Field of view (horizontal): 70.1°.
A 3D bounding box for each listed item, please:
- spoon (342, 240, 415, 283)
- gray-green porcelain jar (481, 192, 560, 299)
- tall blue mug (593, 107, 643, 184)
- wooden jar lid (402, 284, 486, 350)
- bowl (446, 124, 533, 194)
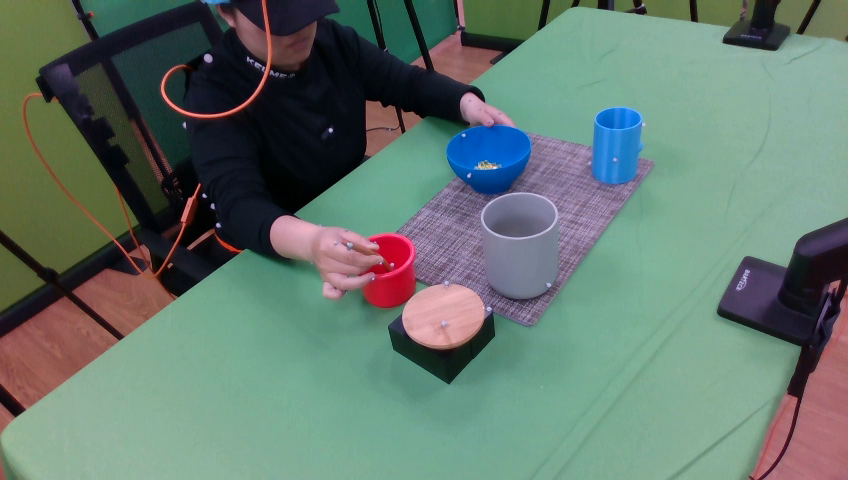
[{"bbox_3d":[-0.062,0.029,0.845,0.041,0.195,0.021,37,87,30],"label":"spoon"},{"bbox_3d":[0.138,0.012,0.858,0.106,0.127,0.105,-6,40,5],"label":"gray-green porcelain jar"},{"bbox_3d":[0.330,-0.172,1.052,0.078,0.108,0.106,-12,40,-1],"label":"tall blue mug"},{"bbox_3d":[0.026,0.101,0.786,0.108,0.021,0.108,-5,39,4],"label":"wooden jar lid"},{"bbox_3d":[0.118,-0.135,1.075,0.151,0.077,0.150,-5,40,5],"label":"bowl"}]
